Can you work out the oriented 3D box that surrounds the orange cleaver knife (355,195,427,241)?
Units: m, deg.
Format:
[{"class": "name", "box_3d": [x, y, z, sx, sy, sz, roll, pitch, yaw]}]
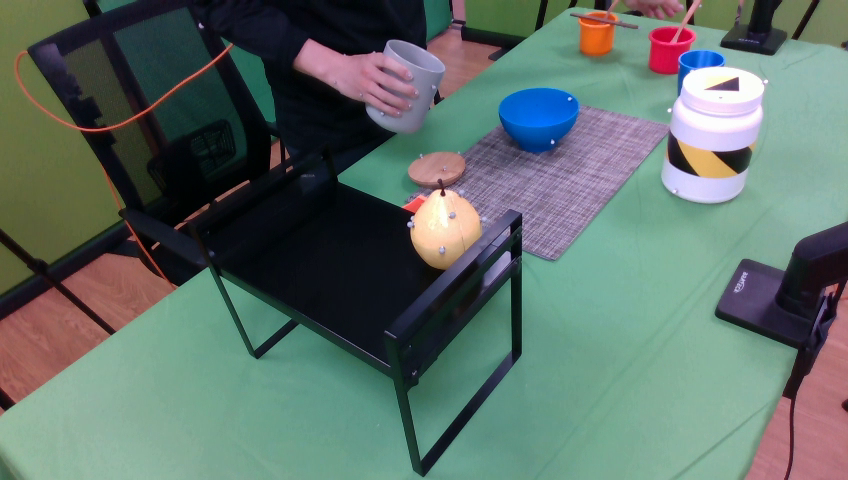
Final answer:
[{"class": "orange cleaver knife", "box_3d": [-0.037, -0.029, 0.973, 0.210, 0.077, 0.012, -8, 33, 50]}]

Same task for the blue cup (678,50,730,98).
[{"class": "blue cup", "box_3d": [0.542, -0.310, 1.194, 0.092, 0.101, 0.092, -6, 41, 6]}]

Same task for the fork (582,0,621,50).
[{"class": "fork", "box_3d": [0.446, -0.539, 1.438, 0.207, 0.019, 0.028, -57, 36, 12]}]

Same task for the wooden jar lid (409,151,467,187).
[{"class": "wooden jar lid", "box_3d": [0.027, -0.131, 1.124, 0.108, 0.021, 0.108, -8, 36, 6]}]

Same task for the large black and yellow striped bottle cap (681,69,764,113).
[{"class": "large black and yellow striped bottle cap", "box_3d": [0.453, -0.229, 0.921, 0.115, 0.019, 0.114, -4, 39, 4]}]

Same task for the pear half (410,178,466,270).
[{"class": "pear half", "box_3d": [0.011, -0.019, 0.654, 0.056, 0.110, 0.076, -16, 37, -9]}]

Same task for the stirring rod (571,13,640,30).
[{"class": "stirring rod", "box_3d": [0.418, -0.508, 1.403, 0.174, 0.006, 0.014, 28, 53, 35]}]

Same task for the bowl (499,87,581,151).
[{"class": "bowl", "box_3d": [0.220, -0.223, 1.156, 0.151, 0.077, 0.150, -4, 41, 4]}]

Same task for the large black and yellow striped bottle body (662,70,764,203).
[{"class": "large black and yellow striped bottle body", "box_3d": [0.464, -0.166, 0.976, 0.131, 0.185, 0.130, -5, 41, 5]}]

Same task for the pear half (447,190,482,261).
[{"class": "pear half", "box_3d": [0.046, -0.020, 0.664, 0.031, 0.088, 0.070, -17, 38, -9]}]

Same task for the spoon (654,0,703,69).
[{"class": "spoon", "box_3d": [0.569, -0.462, 1.335, 0.041, 0.022, 0.193, 34, 99, 37]}]

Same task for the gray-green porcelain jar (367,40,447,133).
[{"class": "gray-green porcelain jar", "box_3d": [-0.034, -0.255, 1.026, 0.106, 0.126, 0.105, 19, 32, -12]}]
